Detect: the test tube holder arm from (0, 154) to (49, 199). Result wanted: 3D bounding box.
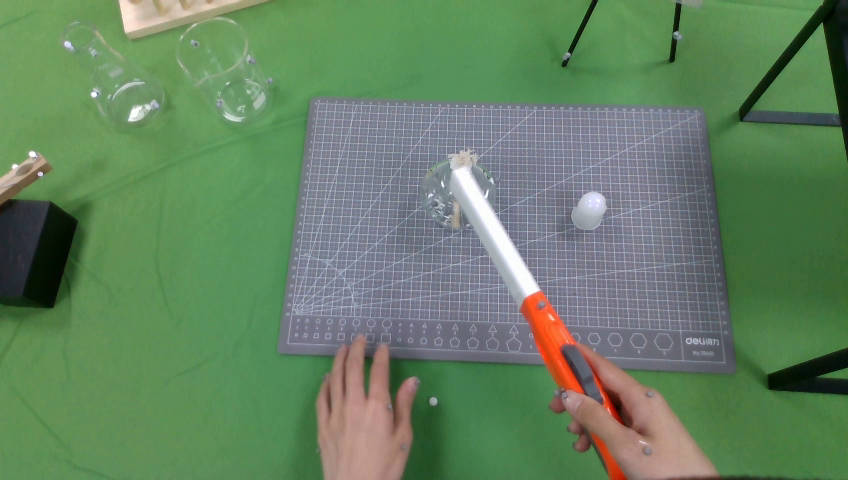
[{"bbox_3d":[-0.422,-0.055,0.612,0.088,0.015,0.010,-40,74,-13],"label":"test tube holder arm"}]

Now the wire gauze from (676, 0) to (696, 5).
[{"bbox_3d":[0.227,-0.295,0.602,0.121,0.011,0.124,23,73,7],"label":"wire gauze"}]

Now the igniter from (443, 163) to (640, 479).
[{"bbox_3d":[0.085,0.055,0.475,0.025,0.057,0.274,-23,68,-13],"label":"igniter"}]

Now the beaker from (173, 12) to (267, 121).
[{"bbox_3d":[-0.218,-0.181,0.660,0.074,0.101,0.083,16,72,8],"label":"beaker"}]

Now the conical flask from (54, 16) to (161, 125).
[{"bbox_3d":[-0.344,-0.185,0.652,0.075,0.122,0.075,0,70,2],"label":"conical flask"}]

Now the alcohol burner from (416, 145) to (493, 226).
[{"bbox_3d":[0.031,-0.059,0.601,0.078,0.120,0.077,0,69,0],"label":"alcohol burner"}]

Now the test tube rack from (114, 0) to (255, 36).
[{"bbox_3d":[-0.261,-0.329,0.721,0.242,0.086,0.066,-18,70,-5],"label":"test tube rack"}]

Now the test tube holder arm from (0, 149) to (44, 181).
[{"bbox_3d":[-0.459,-0.030,0.603,0.178,0.015,0.013,-41,74,-13],"label":"test tube holder arm"}]

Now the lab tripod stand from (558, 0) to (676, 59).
[{"bbox_3d":[0.221,-0.271,0.665,0.148,0.132,0.147,0,69,0],"label":"lab tripod stand"}]

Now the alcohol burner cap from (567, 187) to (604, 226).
[{"bbox_3d":[0.169,-0.038,0.629,0.034,0.048,0.033,0,70,1],"label":"alcohol burner cap"}]
